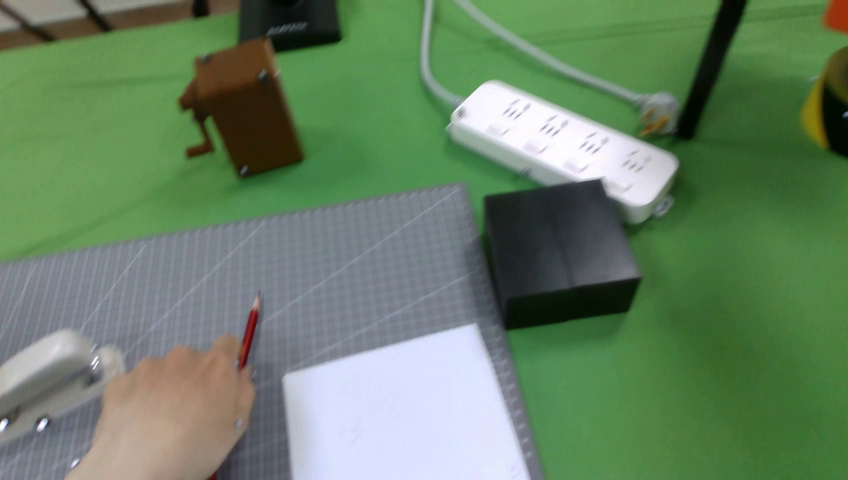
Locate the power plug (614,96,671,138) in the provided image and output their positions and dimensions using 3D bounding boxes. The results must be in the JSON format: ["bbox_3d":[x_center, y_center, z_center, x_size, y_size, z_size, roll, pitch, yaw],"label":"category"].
[{"bbox_3d":[0.210,-0.118,0.599,0.052,0.035,0.072,-38,21,-25],"label":"power plug"}]

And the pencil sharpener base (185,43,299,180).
[{"bbox_3d":[-0.171,-0.118,0.574,0.077,0.108,0.060,-20,54,-9],"label":"pencil sharpener base"}]

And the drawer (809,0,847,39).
[{"bbox_3d":[0.371,-0.188,0.370,0.193,0.074,0.211,23,58,21],"label":"drawer"}]

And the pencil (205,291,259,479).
[{"bbox_3d":[-0.144,0.120,0.450,0.012,0.012,0.192,0,53,6],"label":"pencil"}]

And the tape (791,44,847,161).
[{"bbox_3d":[0.414,-0.129,0.564,0.117,0.053,0.115,-3,53,4],"label":"tape"}]

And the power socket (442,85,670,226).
[{"bbox_3d":[0.120,-0.085,0.571,0.225,0.033,0.072,30,60,25],"label":"power socket"}]

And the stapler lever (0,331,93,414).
[{"bbox_3d":[-0.300,0.105,0.437,0.118,0.040,0.026,-26,54,-13],"label":"stapler lever"}]

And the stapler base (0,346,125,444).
[{"bbox_3d":[-0.297,0.118,0.458,0.130,0.025,0.041,-26,54,-13],"label":"stapler base"}]

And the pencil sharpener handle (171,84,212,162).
[{"bbox_3d":[-0.218,-0.105,0.552,0.031,0.068,0.035,-20,32,-9],"label":"pencil sharpener handle"}]
